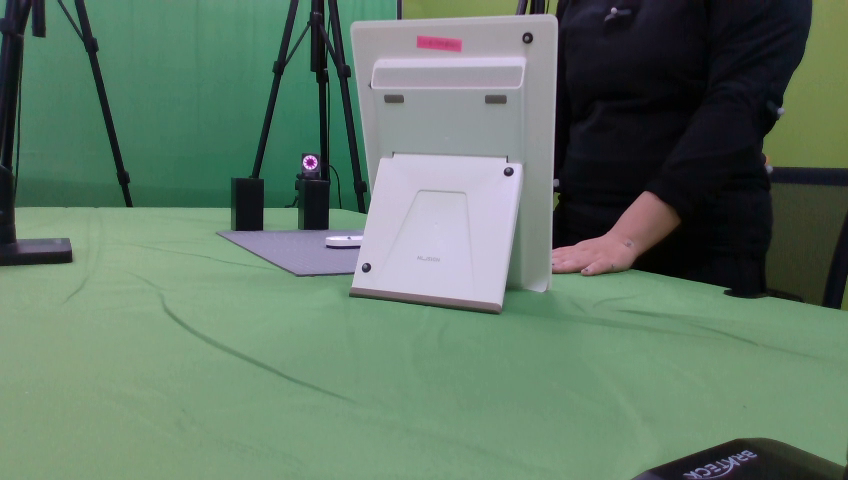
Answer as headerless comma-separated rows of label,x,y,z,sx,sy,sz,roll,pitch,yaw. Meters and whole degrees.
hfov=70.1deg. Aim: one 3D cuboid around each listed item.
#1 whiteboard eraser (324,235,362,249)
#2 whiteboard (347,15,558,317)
whiteboard eraser,-0.112,0.002,0.974,0.102,0.019,0.041,-1,8,-32
whiteboard,0.012,-0.056,0.609,0.216,0.305,0.144,5,27,19
